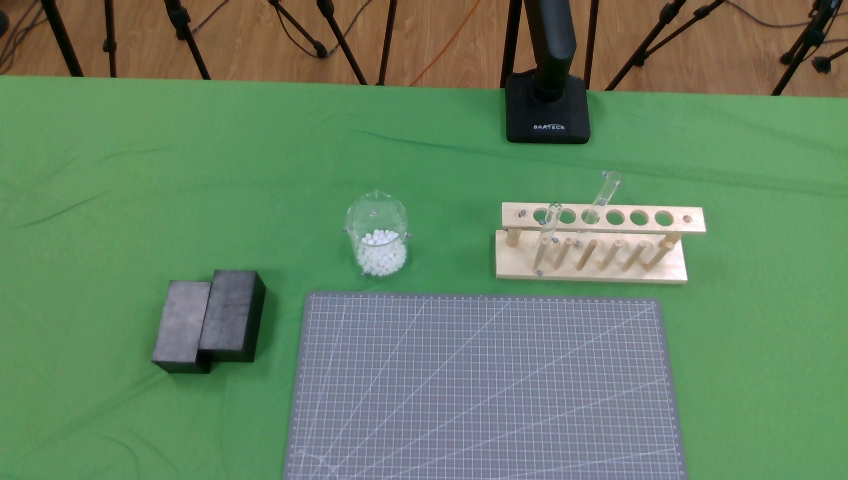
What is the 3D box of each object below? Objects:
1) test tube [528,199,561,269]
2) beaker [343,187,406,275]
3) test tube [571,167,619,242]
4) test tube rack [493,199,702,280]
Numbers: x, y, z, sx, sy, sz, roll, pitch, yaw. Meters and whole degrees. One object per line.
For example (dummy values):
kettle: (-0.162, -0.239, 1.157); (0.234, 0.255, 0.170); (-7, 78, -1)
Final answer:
test tube: (0.141, -0.004, 0.714); (0.017, 0.151, 0.017); (0, 61, 0)
beaker: (-0.059, -0.007, 0.757); (0.074, 0.101, 0.083); (-2, 63, -2)
test tube: (0.202, -0.037, 0.726); (0.017, 0.151, 0.017); (2, 61, -2)
test tube rack: (0.213, 0.001, 0.762); (0.242, 0.086, 0.066); (1, 63, 1)
